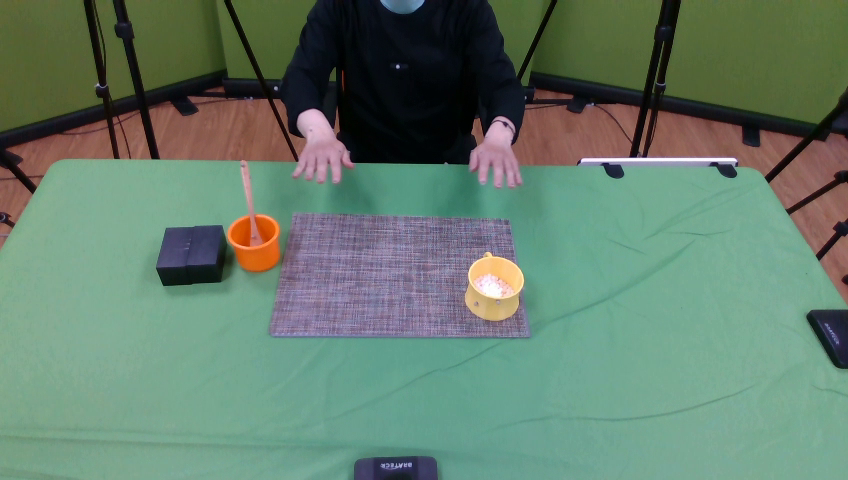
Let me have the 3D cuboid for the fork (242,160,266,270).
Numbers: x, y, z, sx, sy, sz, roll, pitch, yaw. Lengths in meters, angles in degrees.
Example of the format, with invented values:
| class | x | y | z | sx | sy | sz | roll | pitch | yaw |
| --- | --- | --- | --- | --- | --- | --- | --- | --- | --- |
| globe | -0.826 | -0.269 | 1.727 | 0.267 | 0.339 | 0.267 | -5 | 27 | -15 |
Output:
| class | x | y | z | sx | sy | sz | roll | pitch | yaw |
| --- | --- | --- | --- | --- | --- | --- | --- | --- | --- |
| fork | -0.320 | -0.047 | 1.130 | 0.028 | 0.018 | 0.207 | -9 | 91 | 0 |

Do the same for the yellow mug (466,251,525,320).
| class | x | y | z | sx | sy | sz | roll | pitch | yaw |
| --- | --- | --- | --- | --- | --- | --- | --- | --- | --- |
| yellow mug | 0.125 | 0.074 | 1.096 | 0.100 | 0.064 | 0.130 | -4 | 45 | -7 |
